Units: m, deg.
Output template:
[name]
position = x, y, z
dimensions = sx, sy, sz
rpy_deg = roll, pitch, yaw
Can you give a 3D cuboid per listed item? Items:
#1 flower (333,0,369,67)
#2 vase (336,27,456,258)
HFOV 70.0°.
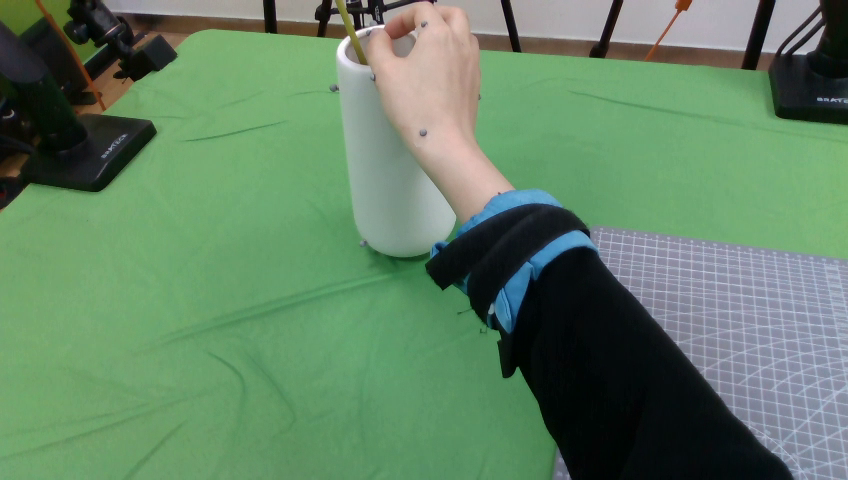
[flower]
position = -0.049, -0.139, 0.477
dimensions = 0.044, 0.365, 0.038
rpy_deg = -33, 34, -13
[vase]
position = -0.023, -0.077, 0.528
dimensions = 0.098, 0.202, 0.097
rpy_deg = -2, 45, 3
